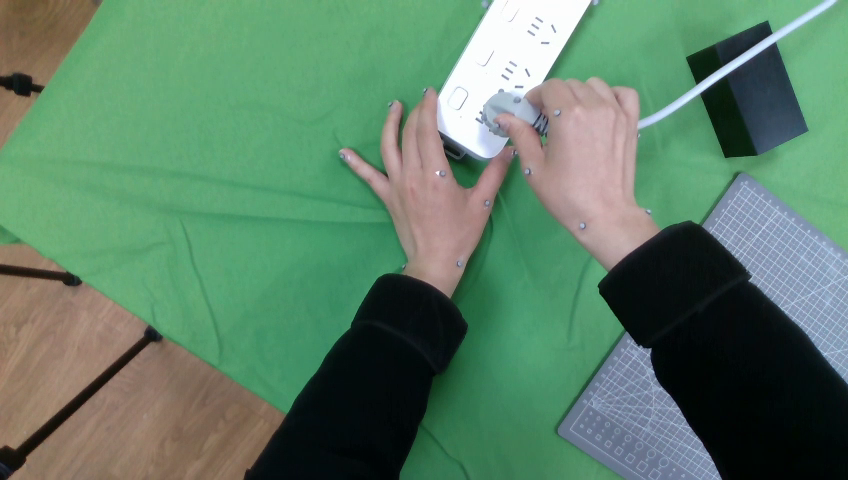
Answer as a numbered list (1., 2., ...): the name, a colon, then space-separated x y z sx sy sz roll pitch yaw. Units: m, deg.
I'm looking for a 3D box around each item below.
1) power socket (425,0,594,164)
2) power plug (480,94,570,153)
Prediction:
1. power socket: 0.081 -0.168 0.520 0.072 0.032 0.226 31 92 -8
2. power plug: 0.075 -0.085 0.489 0.035 0.052 0.073 -41 96 -16
